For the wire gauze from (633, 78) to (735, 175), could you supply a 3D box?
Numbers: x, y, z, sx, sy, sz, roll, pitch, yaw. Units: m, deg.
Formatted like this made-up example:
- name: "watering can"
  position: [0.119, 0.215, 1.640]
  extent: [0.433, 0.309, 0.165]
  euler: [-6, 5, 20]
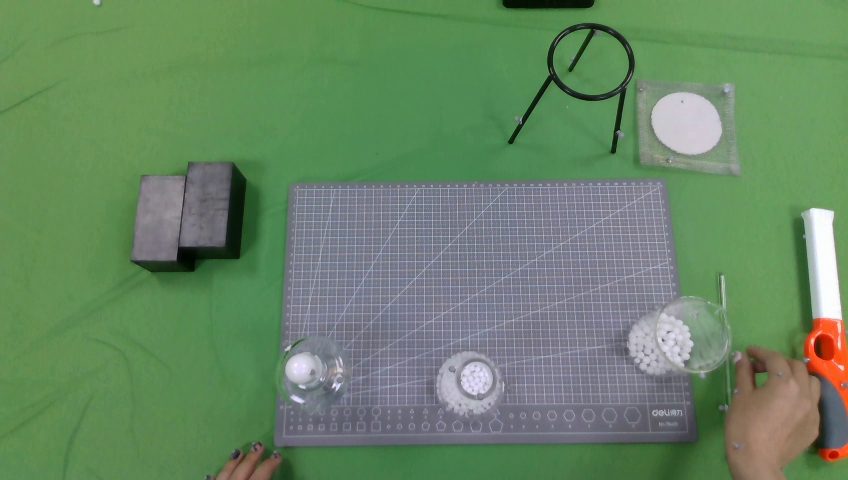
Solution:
- name: "wire gauze"
  position: [0.320, -0.143, 0.744]
  extent: [0.125, 0.011, 0.121]
  euler: [5, 75, 0]

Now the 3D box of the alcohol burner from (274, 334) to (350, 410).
- name: "alcohol burner"
  position: [-0.117, 0.131, 0.611]
  extent: [0.078, 0.120, 0.077]
  euler: [-1, 73, 3]

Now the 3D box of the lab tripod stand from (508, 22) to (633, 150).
- name: "lab tripod stand"
  position: [0.169, -0.167, 0.686]
  extent: [0.148, 0.132, 0.147]
  euler: [0, 76, 1]

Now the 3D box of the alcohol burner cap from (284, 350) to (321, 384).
- name: "alcohol burner cap"
  position: [-0.117, 0.120, 0.576]
  extent: [0.034, 0.048, 0.033]
  euler: [1, 77, -3]

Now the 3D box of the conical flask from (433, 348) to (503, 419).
- name: "conical flask"
  position: [0.046, 0.140, 0.603]
  extent: [0.075, 0.122, 0.075]
  euler: [0, 74, 1]

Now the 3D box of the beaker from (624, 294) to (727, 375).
- name: "beaker"
  position: [0.256, 0.099, 0.626]
  extent: [0.084, 0.101, 0.073]
  euler: [-37, 77, -10]

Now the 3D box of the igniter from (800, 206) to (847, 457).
- name: "igniter"
  position: [0.442, 0.095, 0.667]
  extent: [0.057, 0.025, 0.275]
  euler: [8, 74, -9]

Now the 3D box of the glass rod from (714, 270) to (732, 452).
- name: "glass rod"
  position: [0.330, 0.130, 0.668]
  extent: [0.008, 0.008, 0.198]
  euler: [3, 74, 1]
